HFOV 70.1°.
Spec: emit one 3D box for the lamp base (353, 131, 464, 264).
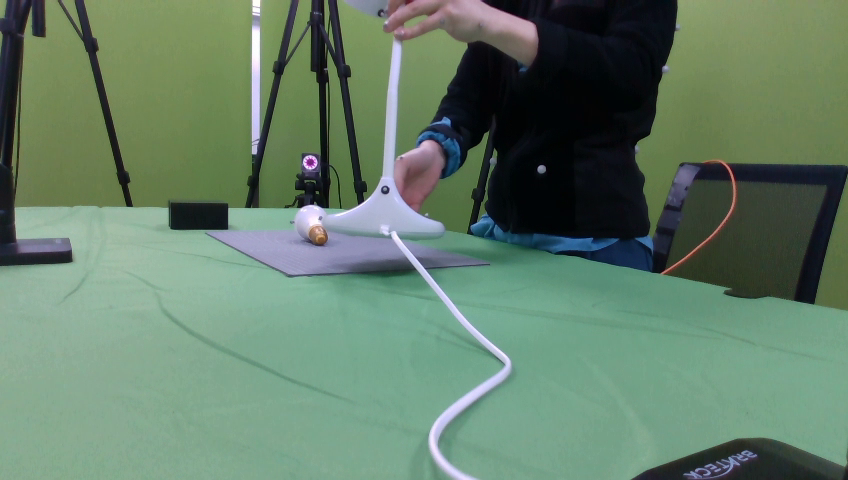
[{"bbox_3d":[-0.014,-0.062,0.850,0.161,0.180,0.178,-1,11,-20],"label":"lamp base"}]
